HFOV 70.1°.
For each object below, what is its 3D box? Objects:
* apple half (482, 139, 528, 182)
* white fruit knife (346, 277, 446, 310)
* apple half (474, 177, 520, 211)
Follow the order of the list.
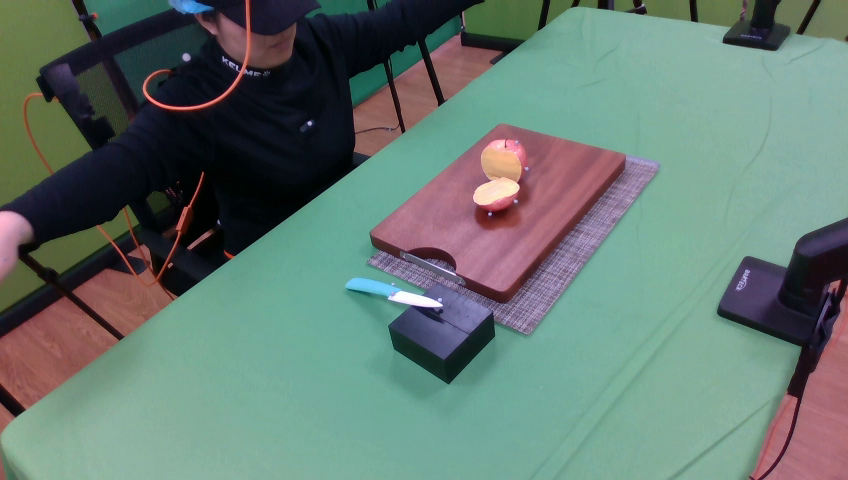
[{"bbox_3d":[0.145,-0.138,1.038,0.080,0.075,0.053,15,41,31],"label":"apple half"},{"bbox_3d":[-0.042,0.077,0.865,0.205,0.016,0.027,9,41,46],"label":"white fruit knife"},{"bbox_3d":[0.123,-0.070,0.994,0.081,0.033,0.081,-17,29,11],"label":"apple half"}]
